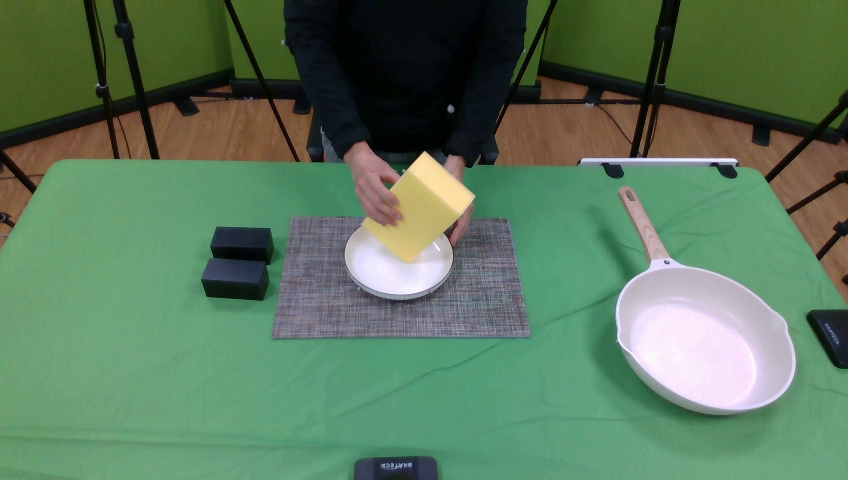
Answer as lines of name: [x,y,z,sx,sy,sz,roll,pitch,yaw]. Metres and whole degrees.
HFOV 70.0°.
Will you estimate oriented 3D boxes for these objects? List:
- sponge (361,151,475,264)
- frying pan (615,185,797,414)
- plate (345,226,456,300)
sponge: [-0.016,-0.052,1.087,0.118,0.207,0.061,41,51,-5]
frying pan: [0.450,0.087,1.092,0.307,0.103,0.484,-4,55,-10]
plate: [-0.045,0.035,1.146,0.208,0.039,0.206,2,46,-2]
